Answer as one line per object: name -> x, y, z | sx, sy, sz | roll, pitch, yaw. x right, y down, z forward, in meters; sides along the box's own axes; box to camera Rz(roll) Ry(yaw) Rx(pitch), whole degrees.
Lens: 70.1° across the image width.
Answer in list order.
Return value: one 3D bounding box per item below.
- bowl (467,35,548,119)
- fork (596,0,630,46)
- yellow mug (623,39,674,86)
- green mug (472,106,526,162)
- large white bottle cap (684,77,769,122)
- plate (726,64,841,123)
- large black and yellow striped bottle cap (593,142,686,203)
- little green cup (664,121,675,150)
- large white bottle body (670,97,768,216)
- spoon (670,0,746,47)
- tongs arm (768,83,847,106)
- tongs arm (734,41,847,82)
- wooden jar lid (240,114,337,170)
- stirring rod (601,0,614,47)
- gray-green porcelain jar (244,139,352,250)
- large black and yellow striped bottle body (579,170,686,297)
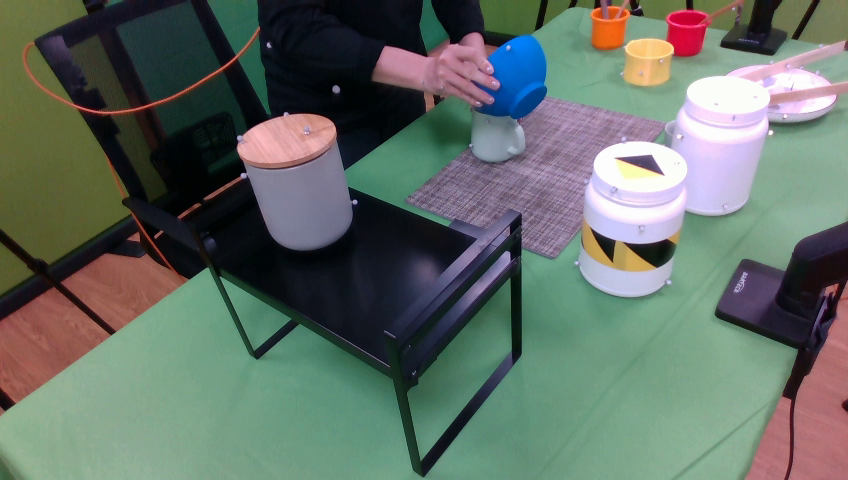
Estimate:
bowl -> 0.155, -0.257, 1.015 | 0.152, 0.151, 0.076 | -29, 71, -23
fork -> 0.481, -0.556, 1.453 | 0.028, 0.019, 0.207 | 40, 103, 38
yellow mug -> 0.485, -0.398, 1.334 | 0.100, 0.064, 0.130 | -18, 41, -10
green mug -> 0.144, -0.202, 1.122 | 0.093, 0.105, 0.124 | -29, 45, -23
large white bottle cap -> 0.448, -0.210, 0.898 | 0.115, 0.018, 0.114 | -4, 40, 4
plate -> 0.695, -0.282, 1.189 | 0.207, 0.039, 0.206 | -4, 40, 4
large black and yellow striped bottle cap -> 0.280, -0.090, 0.786 | 0.115, 0.019, 0.114 | -5, 41, 5
little green cup -> 0.472, -0.188, 1.113 | 0.061, 0.039, 0.061 | -5, 40, 4
large white bottle body -> 0.458, -0.146, 0.952 | 0.130, 0.185, 0.130 | -4, 40, 4
spoon -> 0.629, -0.484, 1.350 | 0.022, 0.193, 0.042 | 48, 54, -7
tongs arm -> 0.738, -0.282, 1.134 | 0.388, 0.028, 0.028 | -9, 47, -5
tongs arm -> 0.712, -0.332, 1.194 | 0.386, 0.026, 0.050 | -18, 45, -16
wooden jar lid -> -0.149, -0.106, 0.673 | 0.108, 0.021, 0.108 | -6, 38, 5
stirring rod -> 0.439, -0.552, 1.463 | 0.014, 0.006, 0.175 | -7, 83, 3
gray-green porcelain jar -> -0.144, -0.060, 0.714 | 0.106, 0.127, 0.105 | -4, 41, 4
large black and yellow striped bottle body -> 0.287, -0.027, 0.841 | 0.131, 0.185, 0.130 | -4, 40, 4
